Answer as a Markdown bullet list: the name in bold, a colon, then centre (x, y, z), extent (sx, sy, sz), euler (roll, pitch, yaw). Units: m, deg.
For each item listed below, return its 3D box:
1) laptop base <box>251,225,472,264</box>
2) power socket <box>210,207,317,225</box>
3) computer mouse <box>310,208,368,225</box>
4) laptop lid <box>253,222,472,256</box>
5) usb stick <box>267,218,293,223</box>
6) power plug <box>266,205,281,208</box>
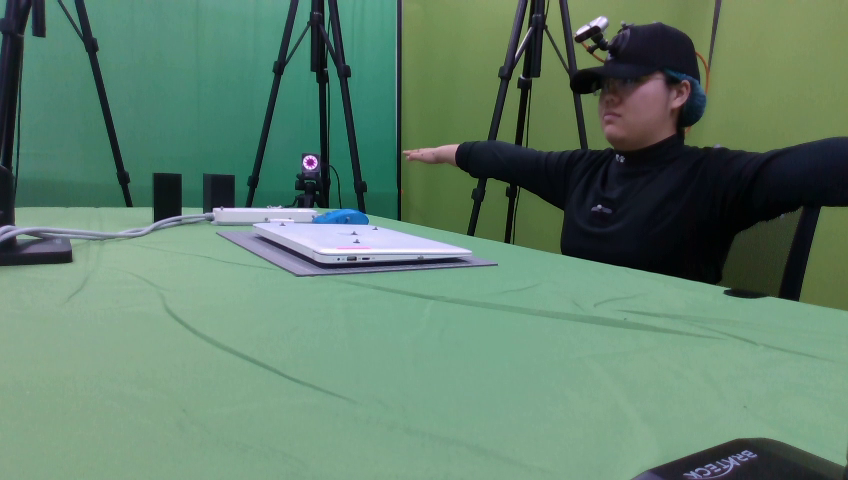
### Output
- **laptop base**: centre (-0.115, 0.007, 0.955), extent (0.237, 0.023, 0.352), euler (2, 6, -31)
- **power socket**: centre (-0.335, -0.051, 1.282), extent (0.228, 0.032, 0.072), euler (-1, 9, -28)
- **computer mouse**: centre (-0.179, -0.044, 1.274), extent (0.118, 0.041, 0.062), euler (-6, 13, -29)
- **laptop lid**: centre (-0.113, -0.005, 0.955), extent (0.243, 0.013, 0.355), euler (1, 7, -29)
- **usb stick**: centre (-0.272, -0.026, 1.107), extent (0.059, 0.027, 0.021), euler (-3, 11, -27)
- **power plug**: centre (-0.344, -0.057, 1.365), extent (0.053, 0.035, 0.072), euler (-21, -8, -14)
